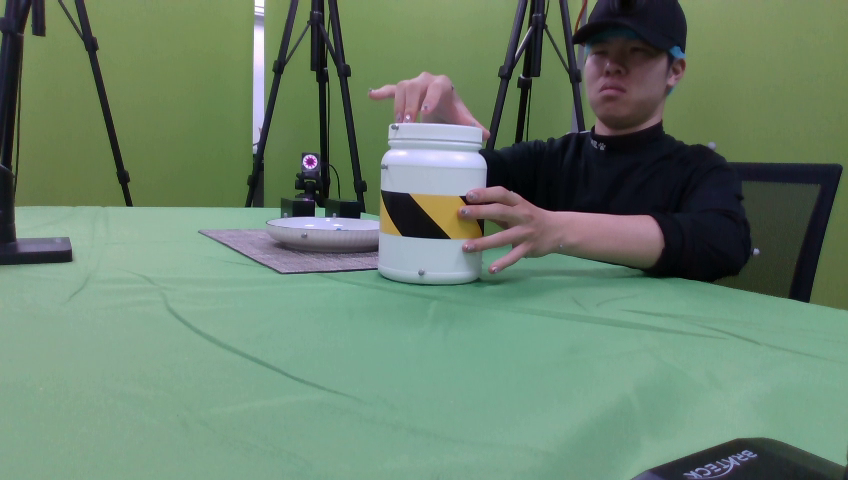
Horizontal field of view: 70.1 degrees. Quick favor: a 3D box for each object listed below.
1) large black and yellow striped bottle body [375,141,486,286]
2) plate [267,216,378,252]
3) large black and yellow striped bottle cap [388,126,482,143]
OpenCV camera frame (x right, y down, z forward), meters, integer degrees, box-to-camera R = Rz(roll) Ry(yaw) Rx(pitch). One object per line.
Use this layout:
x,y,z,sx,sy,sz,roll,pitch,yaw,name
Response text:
0.009,-0.044,0.744,0.131,0.184,0.130,3,7,0,large black and yellow striped bottle body
-0.145,-0.010,0.967,0.208,0.039,0.207,2,7,0,plate
0.013,-0.127,0.732,0.115,0.019,0.115,1,8,0,large black and yellow striped bottle cap
